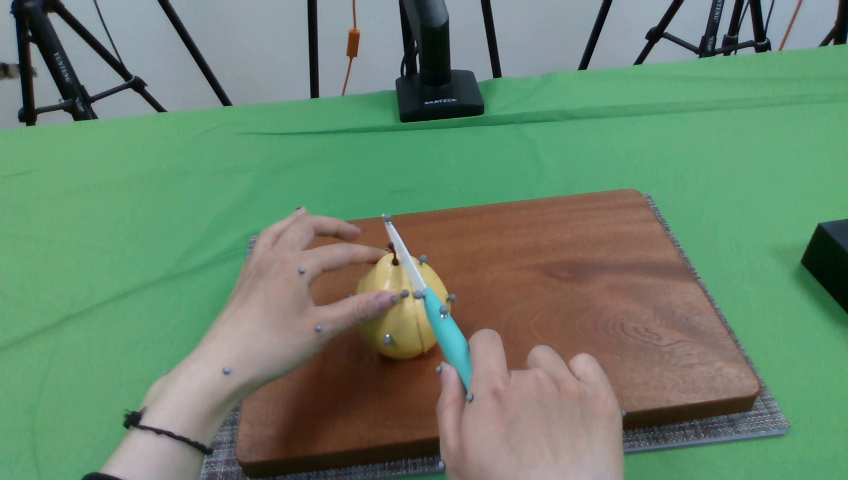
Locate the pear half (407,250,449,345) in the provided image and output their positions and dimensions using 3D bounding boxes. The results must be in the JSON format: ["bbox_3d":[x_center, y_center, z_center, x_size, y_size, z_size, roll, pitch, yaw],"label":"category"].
[{"bbox_3d":[0.003,0.042,0.488,0.031,0.089,0.069,-13,36,-7],"label":"pear half"}]

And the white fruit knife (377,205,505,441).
[{"bbox_3d":[0.002,0.041,0.411,0.016,0.027,0.205,-14,46,-19],"label":"white fruit knife"}]

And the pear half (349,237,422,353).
[{"bbox_3d":[-0.033,0.040,0.478,0.056,0.111,0.075,-11,39,-7],"label":"pear half"}]
